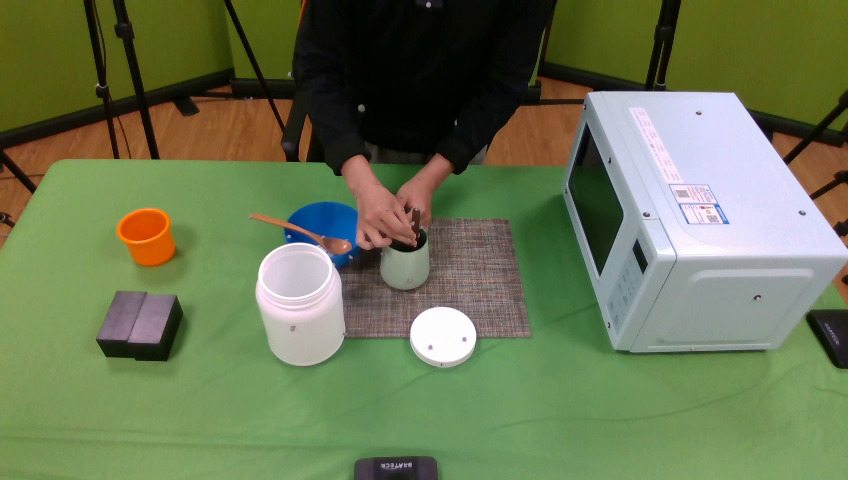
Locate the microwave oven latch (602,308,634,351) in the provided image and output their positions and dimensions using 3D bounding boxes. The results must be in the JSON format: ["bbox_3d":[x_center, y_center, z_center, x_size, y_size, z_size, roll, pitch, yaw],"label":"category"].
[{"bbox_3d":[0.332,0.153,1.044,0.030,0.029,0.078,-1,45,-4],"label":"microwave oven latch"}]

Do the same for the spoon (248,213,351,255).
[{"bbox_3d":[-0.228,-0.014,1.113,0.194,0.022,0.041,23,40,-15],"label":"spoon"}]

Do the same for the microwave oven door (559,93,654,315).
[{"bbox_3d":[0.327,-0.074,1.123,0.039,0.245,0.353,-1,46,-5],"label":"microwave oven door"}]

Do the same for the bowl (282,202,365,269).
[{"bbox_3d":[-0.186,0.006,1.136,0.151,0.077,0.150,3,46,-3],"label":"bowl"}]

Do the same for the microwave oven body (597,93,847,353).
[{"bbox_3d":[0.475,-0.041,1.110,0.326,0.261,0.438,-1,45,-4],"label":"microwave oven body"}]

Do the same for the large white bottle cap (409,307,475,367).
[{"bbox_3d":[0.031,0.165,1.041,0.115,0.018,0.114,2,47,-2],"label":"large white bottle cap"}]

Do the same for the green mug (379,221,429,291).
[{"bbox_3d":[-0.044,0.020,1.116,0.092,0.105,0.124,-20,51,-22],"label":"green mug"}]

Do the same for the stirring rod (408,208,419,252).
[{"bbox_3d":[-0.020,0.005,1.069,0.014,0.177,0.006,18,50,11],"label":"stirring rod"}]

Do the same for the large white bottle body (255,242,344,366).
[{"bbox_3d":[-0.196,0.102,0.967,0.131,0.185,0.130,2,49,-2],"label":"large white bottle body"}]
